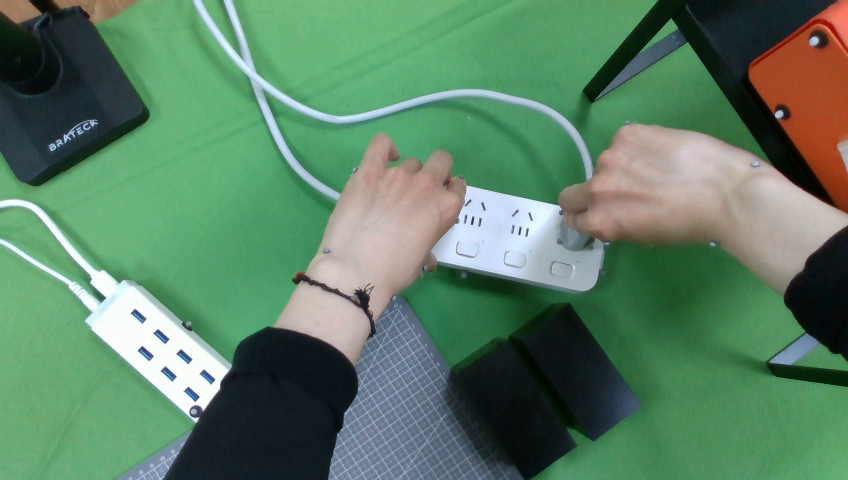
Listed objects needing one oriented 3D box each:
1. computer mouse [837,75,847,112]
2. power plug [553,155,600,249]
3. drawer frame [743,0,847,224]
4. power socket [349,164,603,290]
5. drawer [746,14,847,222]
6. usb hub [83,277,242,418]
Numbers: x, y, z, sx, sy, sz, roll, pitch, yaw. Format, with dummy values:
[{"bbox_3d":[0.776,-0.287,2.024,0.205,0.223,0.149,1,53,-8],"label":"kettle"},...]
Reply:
[{"bbox_3d":[0.311,-0.069,0.366,0.063,0.041,0.117,-37,86,-3],"label":"computer mouse"},{"bbox_3d":[0.132,-0.027,0.508,0.035,0.052,0.072,24,78,-6],"label":"power plug"},{"bbox_3d":[0.339,-0.088,0.353,0.213,0.083,0.201,-34,87,-7],"label":"drawer frame"},{"bbox_3d":[0.049,-0.011,0.530,0.227,0.032,0.072,12,83,-2],"label":"power socket"},{"bbox_3d":[0.337,-0.085,0.355,0.212,0.073,0.194,-33,87,-7],"label":"drawer"},{"bbox_3d":[-0.217,0.089,0.504,0.125,0.025,0.049,41,85,1],"label":"usb hub"}]
